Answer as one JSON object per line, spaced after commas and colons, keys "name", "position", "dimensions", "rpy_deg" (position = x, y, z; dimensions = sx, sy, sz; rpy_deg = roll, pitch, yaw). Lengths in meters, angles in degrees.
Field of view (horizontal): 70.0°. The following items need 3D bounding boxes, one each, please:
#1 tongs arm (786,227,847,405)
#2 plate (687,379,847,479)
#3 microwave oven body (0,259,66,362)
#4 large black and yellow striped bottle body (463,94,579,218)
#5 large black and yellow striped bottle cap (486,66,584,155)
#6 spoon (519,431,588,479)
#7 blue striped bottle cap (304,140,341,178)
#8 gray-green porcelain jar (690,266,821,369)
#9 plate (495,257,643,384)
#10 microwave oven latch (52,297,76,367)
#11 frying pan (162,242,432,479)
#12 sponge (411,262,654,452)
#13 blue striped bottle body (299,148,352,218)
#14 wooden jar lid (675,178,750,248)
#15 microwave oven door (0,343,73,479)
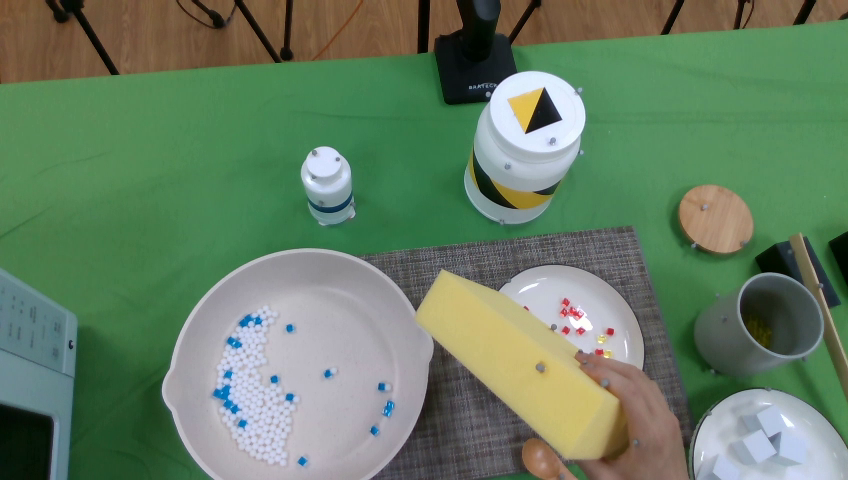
{"name": "tongs arm", "position": [0.546, 0.164, 0.765], "dimensions": [0.051, 0.026, 0.383], "rpy_deg": [-11, 80, -11]}
{"name": "plate", "position": [0.420, 0.276, 0.740], "dimensions": [0.208, 0.039, 0.206], "rpy_deg": [2, 68, -4]}
{"name": "microwave oven body", "position": [-0.547, 0.251, 0.544], "dimensions": [0.326, 0.261, 0.438], "rpy_deg": [-6, 69, -7]}
{"name": "large black and yellow striped bottle body", "position": [0.125, -0.122, 0.794], "dimensions": [0.131, 0.185, 0.130], "rpy_deg": [2, 68, -4]}
{"name": "large black and yellow striped bottle cap", "position": [0.131, -0.154, 0.715], "dimensions": [0.115, 0.019, 0.114], "rpy_deg": [2, 67, -3]}
{"name": "spoon", "position": [0.194, 0.292, 0.720], "dimensions": [0.193, 0.022, 0.041], "rpy_deg": [32, 52, 7]}
{"name": "blue striped bottle cap", "position": [-0.124, -0.099, 0.742], "dimensions": [0.044, 0.021, 0.044], "rpy_deg": [1, 66, -2]}
{"name": "gray-green porcelain jar", "position": [0.406, 0.103, 0.759], "dimensions": [0.106, 0.127, 0.105], "rpy_deg": [2, 68, -4]}
{"name": "plate", "position": [0.172, 0.124, 0.775], "dimensions": [0.209, 0.038, 0.207], "rpy_deg": [2, 69, -4]}
{"name": "microwave oven latch", "position": [-0.431, 0.110, 0.714], "dimensions": [0.030, 0.029, 0.078], "rpy_deg": [-5, 69, -7]}
{"name": "frying pan", "position": [-0.126, 0.237, 0.671], "dimensions": [0.307, 0.103, 0.483], "rpy_deg": [-8, 61, -5]}
{"name": "sponge", "position": [0.098, 0.108, 0.575], "dimensions": [0.204, 0.119, 0.061], "rpy_deg": [37, 99, 40]}
{"name": "blue striped bottle body", "position": [-0.128, -0.080, 0.790], "dimensions": [0.063, 0.121, 0.062], "rpy_deg": [2, 68, -4]}
{"name": "wooden jar lid", "position": [0.413, -0.037, 0.873], "dimensions": [0.108, 0.021, 0.107], "rpy_deg": [2, 70, -4]}
{"name": "microwave oven door", "position": [-0.396, 0.273, 0.543], "dimensions": [0.039, 0.245, 0.353], "rpy_deg": [-6, 69, -7]}
